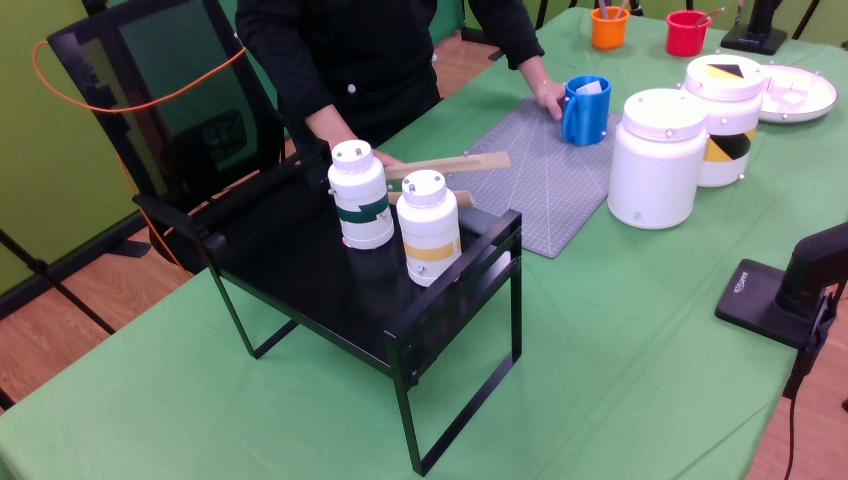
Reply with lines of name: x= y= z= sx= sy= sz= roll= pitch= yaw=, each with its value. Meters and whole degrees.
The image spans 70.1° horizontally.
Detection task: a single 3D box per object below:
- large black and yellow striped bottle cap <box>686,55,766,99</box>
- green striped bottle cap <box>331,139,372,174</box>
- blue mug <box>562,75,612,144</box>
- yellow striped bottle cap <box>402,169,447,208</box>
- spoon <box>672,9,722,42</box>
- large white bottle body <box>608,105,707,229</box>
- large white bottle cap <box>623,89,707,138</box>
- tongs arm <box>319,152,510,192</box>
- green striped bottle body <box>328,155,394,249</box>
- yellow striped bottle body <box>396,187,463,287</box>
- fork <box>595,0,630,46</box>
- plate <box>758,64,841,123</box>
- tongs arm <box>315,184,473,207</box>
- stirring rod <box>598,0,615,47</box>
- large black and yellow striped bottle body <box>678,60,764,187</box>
large black and yellow striped bottle cap: x=0.474 y=-0.258 z=0.952 sx=0.115 sy=0.019 sz=0.114 roll=-5 pitch=41 yaw=5
green striped bottle cap: x=-0.080 y=-0.092 z=0.666 sx=0.044 sy=0.020 sz=0.044 roll=-4 pitch=41 yaw=4
blue mug: x=0.298 y=-0.239 z=1.143 sx=0.081 sy=0.106 sz=0.117 roll=30 pitch=54 yaw=36
yellow striped bottle cap: x=0.000 y=-0.052 z=0.605 sx=0.044 sy=0.019 sz=0.044 roll=-4 pitch=43 yaw=5
spoon: x=0.606 y=-0.476 z=1.345 sx=0.042 sy=0.021 sz=0.193 roll=-6 pitch=-3 yaw=-2
large white bottle body: x=0.361 y=-0.124 z=0.941 sx=0.130 sy=0.185 sz=0.130 roll=-5 pitch=41 yaw=4
large white bottle cap: x=0.352 y=-0.187 z=0.886 sx=0.115 sy=0.018 sz=0.114 roll=-4 pitch=41 yaw=4
tongs arm: x=-0.032 y=-0.105 z=0.993 sx=0.382 sy=0.027 sz=0.051 roll=1 pitch=38 yaw=42
green striped bottle body: x=-0.073 y=-0.053 z=0.699 sx=0.063 sy=0.120 sz=0.063 roll=-5 pitch=41 yaw=4
yellow striped bottle body: x=0.006 y=-0.013 z=0.638 sx=0.063 sy=0.121 sz=0.062 roll=-5 pitch=41 yaw=4
fork: x=0.480 y=-0.556 z=1.453 sx=0.028 sy=0.019 sz=0.207 roll=41 pitch=103 yaw=40
plate: x=0.694 y=-0.283 z=1.189 sx=0.207 sy=0.039 sz=0.206 roll=-4 pitch=40 yaw=4
tongs arm: x=-0.066 y=-0.070 z=0.959 sx=0.384 sy=0.028 sz=0.028 roll=6 pitch=46 yaw=47
stirring rod: x=0.437 y=-0.551 z=1.462 sx=0.014 sy=0.006 sz=0.175 roll=-11 pitch=83 yaw=1
large black and yellow striped bottle body: x=0.482 y=-0.196 z=1.008 sx=0.131 sy=0.185 sz=0.130 roll=-4 pitch=41 yaw=4
